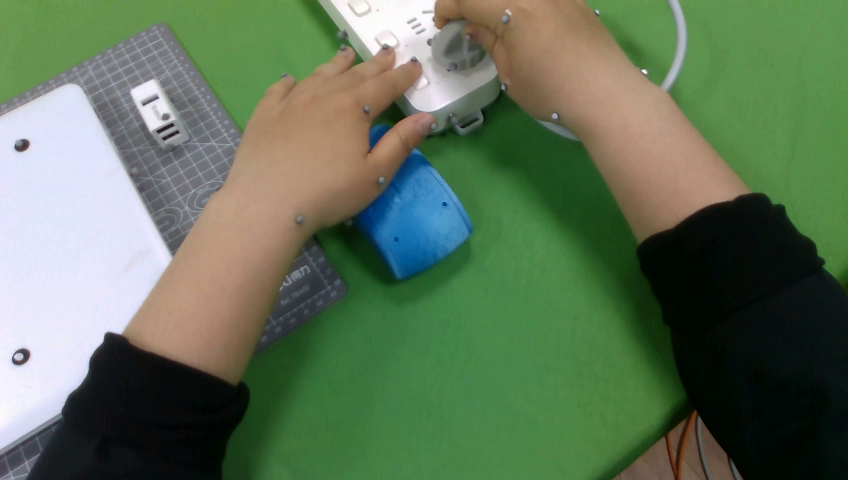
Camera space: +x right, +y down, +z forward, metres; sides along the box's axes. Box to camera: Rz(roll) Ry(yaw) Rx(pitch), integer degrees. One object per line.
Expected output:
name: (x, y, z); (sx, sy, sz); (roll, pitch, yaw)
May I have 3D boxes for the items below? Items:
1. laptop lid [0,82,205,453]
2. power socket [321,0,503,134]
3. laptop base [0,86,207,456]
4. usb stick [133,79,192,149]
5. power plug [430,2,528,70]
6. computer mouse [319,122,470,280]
laptop lid: (-0.339, 0.056, 0.377); (0.357, 0.013, 0.239); (-31, 68, -10)
power socket: (-0.023, -0.171, 0.466); (0.072, 0.033, 0.224); (-31, 66, -9)
laptop base: (-0.340, 0.060, 0.388); (0.354, 0.023, 0.233); (-32, 70, -11)
usb stick: (-0.195, -0.097, 0.445); (0.021, 0.027, 0.058); (-31, 63, -8)
power plug: (0.040, -0.135, 0.426); (0.073, 0.053, 0.035); (-8, 57, -15)
computer mouse: (-0.023, -0.032, 0.397); (0.063, 0.041, 0.116); (-31, 61, -7)
